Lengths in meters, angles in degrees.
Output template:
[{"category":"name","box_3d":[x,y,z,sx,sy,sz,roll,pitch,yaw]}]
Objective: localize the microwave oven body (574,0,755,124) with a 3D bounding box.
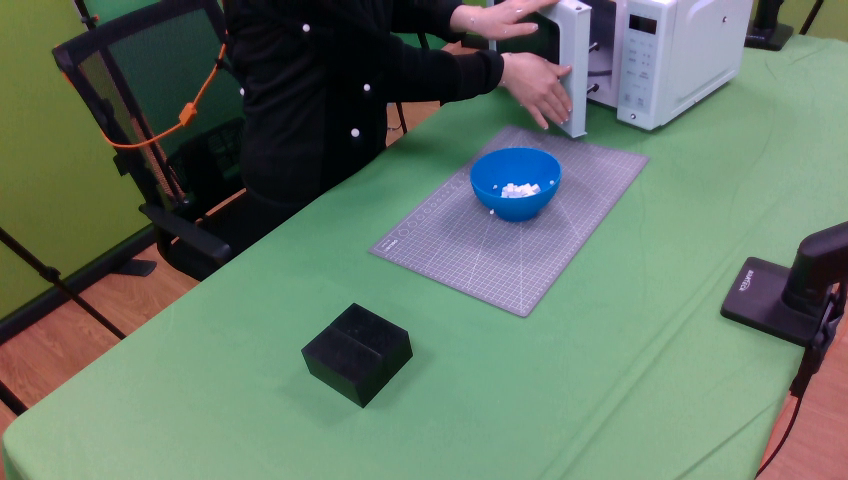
[{"category":"microwave oven body","box_3d":[0.402,-0.458,1.259,0.327,0.261,0.437,-33,45,-24]}]

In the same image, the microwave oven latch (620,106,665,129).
[{"category":"microwave oven latch","box_3d":[0.413,-0.237,1.146,0.030,0.029,0.078,-32,44,-23]}]

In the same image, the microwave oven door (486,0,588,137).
[{"category":"microwave oven door","box_3d":[0.218,-0.388,1.205,0.039,0.245,0.352,-20,41,-12]}]

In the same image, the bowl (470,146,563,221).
[{"category":"bowl","box_3d":[0.155,-0.084,1.008,0.151,0.077,0.150,-6,39,5]}]
